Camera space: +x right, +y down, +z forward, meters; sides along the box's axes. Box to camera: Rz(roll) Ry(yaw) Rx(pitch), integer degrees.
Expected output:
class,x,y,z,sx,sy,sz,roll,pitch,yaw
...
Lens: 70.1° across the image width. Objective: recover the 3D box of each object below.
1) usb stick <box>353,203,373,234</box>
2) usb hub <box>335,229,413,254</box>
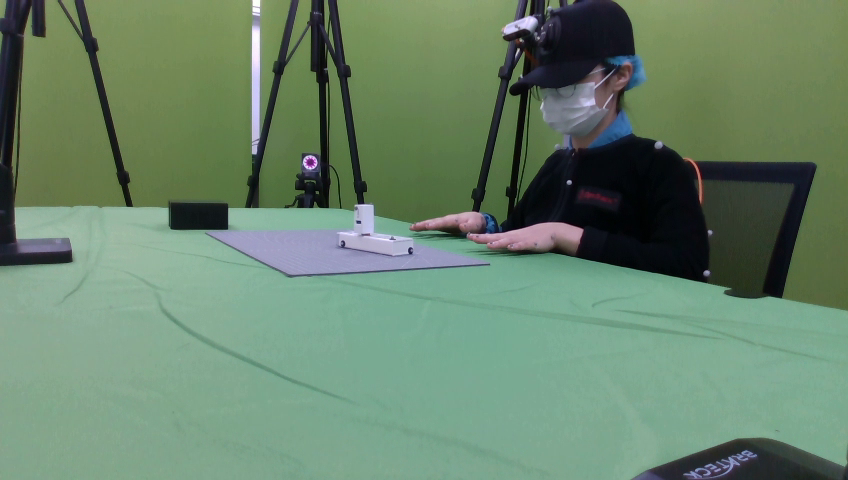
class,x,y,z,sx,sy,sz,roll,pitch,yaw
usb stick,-0.094,-0.028,0.936,0.021,0.059,0.027,5,11,39
usb hub,-0.080,0.001,0.947,0.124,0.025,0.050,7,10,39
